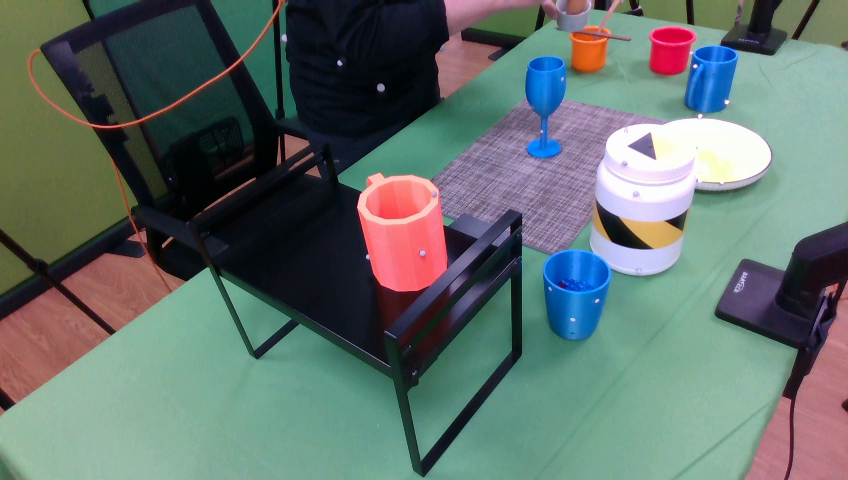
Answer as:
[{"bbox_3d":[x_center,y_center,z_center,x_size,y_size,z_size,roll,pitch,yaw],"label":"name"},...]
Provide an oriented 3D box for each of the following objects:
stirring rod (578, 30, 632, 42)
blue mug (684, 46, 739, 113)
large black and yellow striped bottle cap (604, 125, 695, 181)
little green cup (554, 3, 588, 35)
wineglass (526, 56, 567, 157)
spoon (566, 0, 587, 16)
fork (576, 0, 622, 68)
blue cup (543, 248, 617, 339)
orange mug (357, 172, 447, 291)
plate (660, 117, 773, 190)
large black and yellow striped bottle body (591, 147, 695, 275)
[{"bbox_3d":[0.381,-0.462,1.356,0.175,0.006,0.014,22,48,30],"label":"stirring rod"},{"bbox_3d":[0.556,-0.310,1.190,0.117,0.106,0.081,-32,46,-25],"label":"blue mug"},{"bbox_3d":[0.304,-0.120,0.817,0.115,0.019,0.114,-3,41,3],"label":"large black and yellow striped bottle cap"},{"bbox_3d":[0.267,-0.401,1.097,0.061,0.039,0.061,-9,41,9],"label":"little green cup"},{"bbox_3d":[0.222,-0.241,1.102,0.074,0.173,0.073,-5,41,5],"label":"wineglass"},{"bbox_3d":[0.240,-0.444,1.004,0.041,0.195,0.021,-30,51,6],"label":"spoon"},{"bbox_3d":[0.409,-0.484,1.381,0.028,0.019,0.207,37,101,46],"label":"fork"},{"bbox_3d":[0.199,0.076,0.797,0.092,0.100,0.092,-4,39,4],"label":"blue cup"},{"bbox_3d":[-0.030,-0.018,0.669,0.084,0.101,0.125,-23,47,-16],"label":"orange mug"},{"bbox_3d":[0.495,-0.148,1.063,0.209,0.038,0.208,-5,40,4],"label":"plate"},{"bbox_3d":[0.313,-0.056,0.870,0.131,0.185,0.130,-4,40,4],"label":"large black and yellow striped bottle body"}]
